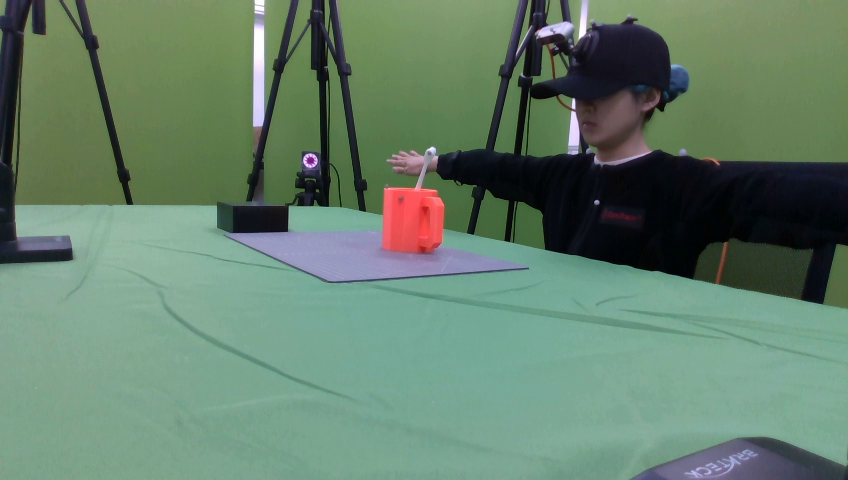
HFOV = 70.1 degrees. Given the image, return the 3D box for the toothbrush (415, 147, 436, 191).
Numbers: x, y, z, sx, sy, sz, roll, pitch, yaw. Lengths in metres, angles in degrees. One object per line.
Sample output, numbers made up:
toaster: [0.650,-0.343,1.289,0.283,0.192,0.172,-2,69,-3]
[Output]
toothbrush: [-0.012,-0.068,0.933,0.014,0.181,0.016,24,41,3]

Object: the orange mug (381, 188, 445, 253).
orange mug: [-0.012,-0.031,0.942,0.084,0.100,0.125,-2,4,-37]
